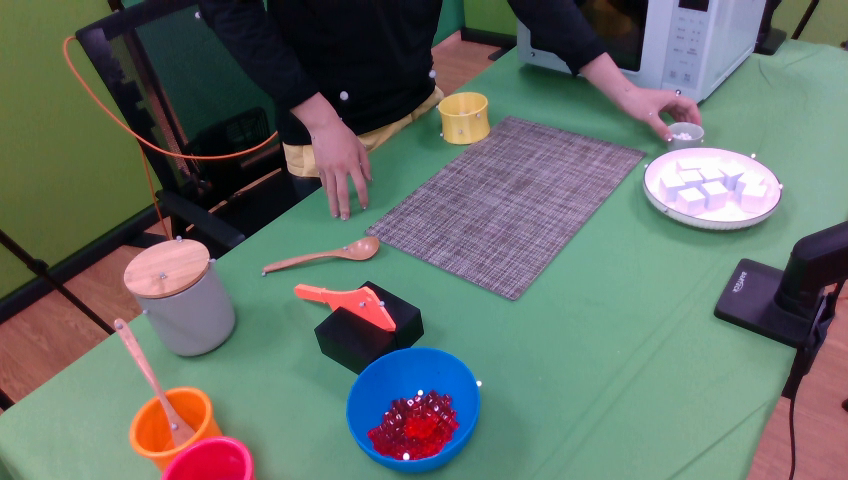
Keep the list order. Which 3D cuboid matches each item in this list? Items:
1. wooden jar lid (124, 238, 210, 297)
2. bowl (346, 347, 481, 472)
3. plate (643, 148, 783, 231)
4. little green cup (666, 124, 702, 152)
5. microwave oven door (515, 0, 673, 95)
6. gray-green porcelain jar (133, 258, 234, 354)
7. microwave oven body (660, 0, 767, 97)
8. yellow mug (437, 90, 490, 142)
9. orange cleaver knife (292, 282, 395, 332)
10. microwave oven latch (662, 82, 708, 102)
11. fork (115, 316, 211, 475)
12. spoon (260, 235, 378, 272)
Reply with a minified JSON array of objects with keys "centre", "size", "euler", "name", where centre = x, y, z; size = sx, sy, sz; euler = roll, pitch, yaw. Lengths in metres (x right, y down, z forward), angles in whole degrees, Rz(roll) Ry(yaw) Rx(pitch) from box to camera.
[{"centre":[-0.335,0.039,0.795],"size":[0.108,0.021,0.108],"euler":[-2,40,2],"name":"wooden jar lid"},{"centre":[-0.008,0.205,0.691],"size":[0.151,0.077,0.150],"euler":[-4,40,4],"name":"bowl"},{"centre":[0.464,-0.080,0.986],"size":[0.207,0.039,0.206],"euler":[-4,40,4],"name":"plate"},{"centre":[0.473,-0.183,1.104],"size":[0.061,0.039,0.061],"euler":[-6,33,5],"name":"little green cup"},{"centre":[0.344,-0.458,1.256],"size":[0.353,0.245,0.039],"euler":[26,51,33],"name":"microwave oven door"},{"centre":[-0.328,0.086,0.836],"size":[0.106,0.127,0.105],"euler":[-4,41,4],"name":"gray-green porcelain jar"},{"centre":[0.473,-0.516,1.314],"size":[0.438,0.261,0.327],"euler":[26,51,34],"name":"microwave oven body"},{"centre":[0.070,-0.257,1.224],"size":[0.100,0.064,0.129],"euler":[-32,44,-26],"name":"yellow mug"},{"centre":[-0.115,0.091,0.835],"size":[0.209,0.077,0.012],"euler":[2,32,48],"name":"orange cleaver knife"},{"centre":[0.517,-0.298,1.202],"size":[0.078,0.029,0.030],"euler":[27,52,34],"name":"microwave oven latch"},{"centre":[-0.309,0.180,0.708],"size":[0.028,0.018,0.207],"euler":[-29,89,-23],"name":"fork"},{"centre":[-0.167,0.024,0.966],"size":[0.194,0.022,0.041],"euler":[-10,58,-3],"name":"spoon"}]
